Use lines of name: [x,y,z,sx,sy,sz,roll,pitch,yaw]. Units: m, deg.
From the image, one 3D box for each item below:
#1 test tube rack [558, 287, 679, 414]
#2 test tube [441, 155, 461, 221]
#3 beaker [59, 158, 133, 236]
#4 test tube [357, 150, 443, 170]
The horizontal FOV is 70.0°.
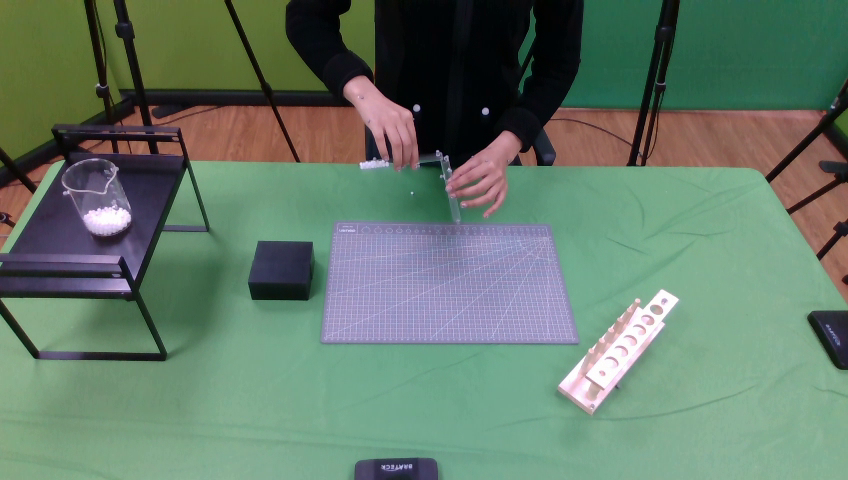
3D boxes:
test tube rack: [0.326,0.170,1.009,0.066,0.085,0.242,36,54,26]
test tube: [0.050,-0.091,1.109,0.017,0.151,0.017,-8,43,8]
beaker: [-0.488,-0.060,0.915,0.074,0.101,0.083,-35,58,-30]
test tube: [-0.041,-0.139,1.048,0.150,0.017,0.017,-9,47,-6]
